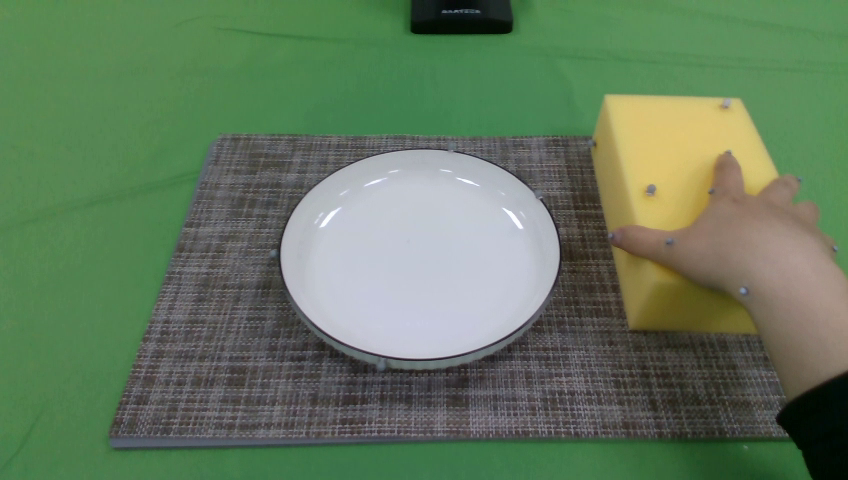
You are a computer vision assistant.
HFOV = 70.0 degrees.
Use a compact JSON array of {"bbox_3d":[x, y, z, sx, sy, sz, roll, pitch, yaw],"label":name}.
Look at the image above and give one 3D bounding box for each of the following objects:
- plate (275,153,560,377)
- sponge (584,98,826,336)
[{"bbox_3d":[-0.004,0.015,0.457,0.208,0.039,0.205,0,48,0],"label":"plate"},{"bbox_3d":[0.205,-0.027,0.479,0.118,0.061,0.205,1,48,0],"label":"sponge"}]
